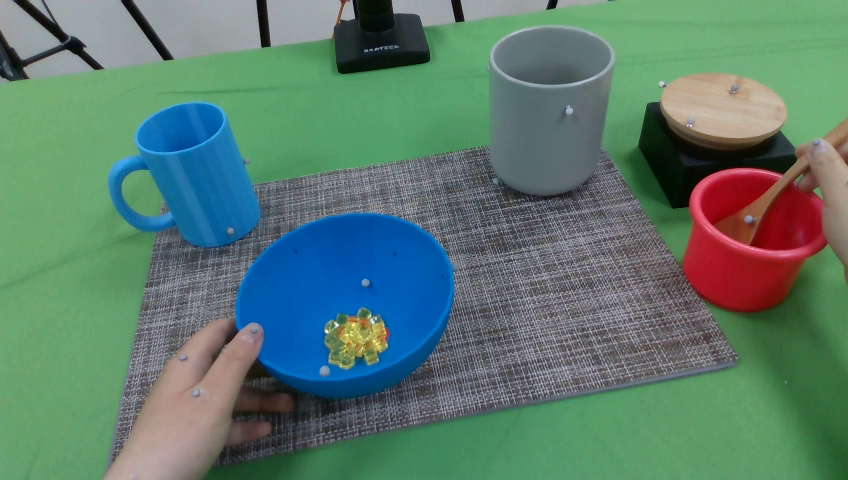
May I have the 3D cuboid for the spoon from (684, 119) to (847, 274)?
[{"bbox_3d":[0.278,-0.043,0.460,0.022,0.194,0.041,23,30,-29],"label":"spoon"}]

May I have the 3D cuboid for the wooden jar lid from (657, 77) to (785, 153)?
[{"bbox_3d":[0.271,-0.115,0.558,0.108,0.021,0.107,-3,45,4],"label":"wooden jar lid"}]

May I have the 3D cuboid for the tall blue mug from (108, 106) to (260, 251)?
[{"bbox_3d":[-0.210,-0.045,0.538,0.077,0.109,0.107,26,53,26],"label":"tall blue mug"}]

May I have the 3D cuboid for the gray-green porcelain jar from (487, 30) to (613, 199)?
[{"bbox_3d":[0.111,-0.110,0.560,0.106,0.128,0.105,-3,45,3],"label":"gray-green porcelain jar"}]

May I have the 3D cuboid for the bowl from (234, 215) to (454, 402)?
[{"bbox_3d":[-0.051,0.061,0.440,0.151,0.077,0.150,-3,45,3],"label":"bowl"}]
